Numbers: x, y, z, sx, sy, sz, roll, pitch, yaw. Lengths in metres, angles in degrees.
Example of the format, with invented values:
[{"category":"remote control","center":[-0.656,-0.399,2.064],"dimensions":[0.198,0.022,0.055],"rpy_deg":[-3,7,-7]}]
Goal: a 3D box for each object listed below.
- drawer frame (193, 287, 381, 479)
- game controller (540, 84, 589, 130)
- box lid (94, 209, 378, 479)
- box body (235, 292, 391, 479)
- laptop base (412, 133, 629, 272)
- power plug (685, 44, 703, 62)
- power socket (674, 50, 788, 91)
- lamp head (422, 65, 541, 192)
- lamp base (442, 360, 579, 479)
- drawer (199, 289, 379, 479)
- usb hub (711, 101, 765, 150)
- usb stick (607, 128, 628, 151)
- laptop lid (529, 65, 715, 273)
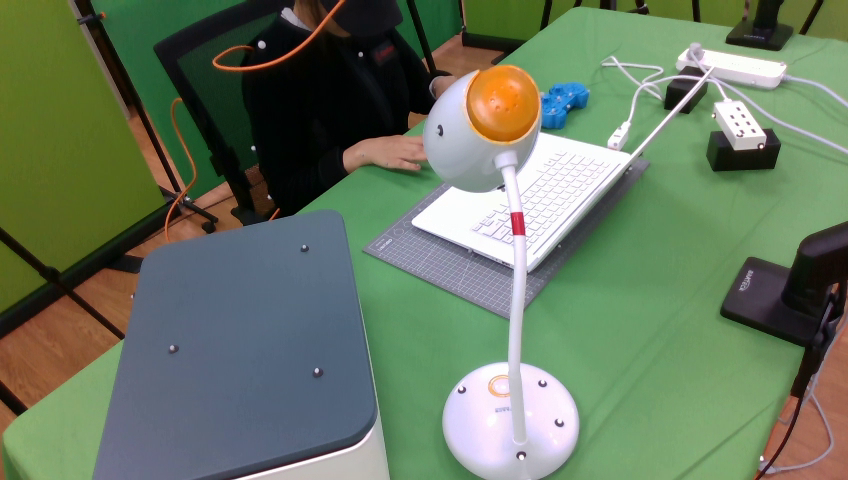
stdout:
[{"category":"drawer frame","center":[-0.172,0.176,0.755],"dimensions":[0.202,0.083,0.212],"rpy_deg":[-14,42,-7]},{"category":"game controller","center":[0.273,-0.282,1.251],"dimensions":[0.096,0.052,0.155],"rpy_deg":[26,52,29]},{"category":"box lid","center":[-0.202,0.094,0.680],"dimensions":[0.264,0.015,0.368],"rpy_deg":[-13,39,-5]},{"category":"box body","center":[-0.190,0.161,0.723],"dimensions":[0.255,0.161,0.361],"rpy_deg":[-13,40,-5]},{"category":"laptop base","center":[0.176,-0.084,1.055],"dimensions":[0.233,0.023,0.355],"rpy_deg":[21,48,36]},{"category":"power plug","center":[0.568,-0.390,1.294],"dimensions":[0.073,0.053,0.035],"rpy_deg":[-33,46,-22]},{"category":"power socket","center":[0.646,-0.363,1.284],"dimensions":[0.225,0.033,0.072],"rpy_deg":[25,52,34]},{"category":"lamp head","center":[0.060,-0.106,0.560],"dimensions":[0.113,0.112,0.122],"rpy_deg":[-16,0,-8]},{"category":"lamp base","center":[0.094,0.158,0.657],"dimensions":[0.161,0.181,0.178],"rpy_deg":[-14,42,-5]},{"category":"drawer","center":[-0.172,0.176,0.760],"dimensions":[0.195,0.073,0.210],"rpy_deg":[-13,42,-8]},{"category":"usb hub","center":[0.536,-0.198,1.038],"dimensions":[0.049,0.025,0.124],"rpy_deg":[-5,39,8]},{"category":"usb stick","center":[0.353,-0.178,1.110],"dimensions":[0.021,0.027,0.059],"rpy_deg":[21,57,30]},{"category":"laptop lid","center":[0.294,-0.104,0.895],"dimensions":[0.013,0.241,0.358],"rpy_deg":[42,56,10]}]
